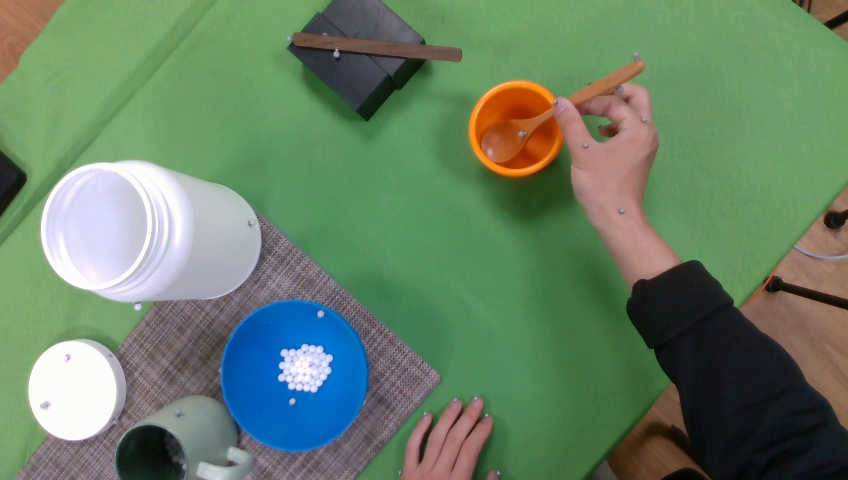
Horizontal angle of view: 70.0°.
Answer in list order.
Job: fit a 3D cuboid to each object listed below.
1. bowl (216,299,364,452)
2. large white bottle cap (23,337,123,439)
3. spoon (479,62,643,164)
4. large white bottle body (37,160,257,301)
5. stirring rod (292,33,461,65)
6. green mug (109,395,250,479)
[{"bbox_3d":[-0.128,0.134,0.632,0.151,0.077,0.151,0,89,8],"label":"bowl"},{"bbox_3d":[-0.404,0.170,0.696,0.114,0.018,0.114,0,88,8],"label":"large white bottle cap"},{"bbox_3d":[0.119,-0.116,0.566,0.022,0.193,0.041,-10,83,-36],"label":"spoon"},{"bbox_3d":[-0.262,-0.006,0.597,0.130,0.185,0.130,-1,86,10],"label":"large white bottle body"},{"bbox_3d":[-0.050,-0.193,0.613,0.176,0.006,0.014,9,124,7],"label":"stirring rod"},{"bbox_3d":[-0.244,0.220,0.632,0.125,0.105,0.092,15,90,7],"label":"green mug"}]
